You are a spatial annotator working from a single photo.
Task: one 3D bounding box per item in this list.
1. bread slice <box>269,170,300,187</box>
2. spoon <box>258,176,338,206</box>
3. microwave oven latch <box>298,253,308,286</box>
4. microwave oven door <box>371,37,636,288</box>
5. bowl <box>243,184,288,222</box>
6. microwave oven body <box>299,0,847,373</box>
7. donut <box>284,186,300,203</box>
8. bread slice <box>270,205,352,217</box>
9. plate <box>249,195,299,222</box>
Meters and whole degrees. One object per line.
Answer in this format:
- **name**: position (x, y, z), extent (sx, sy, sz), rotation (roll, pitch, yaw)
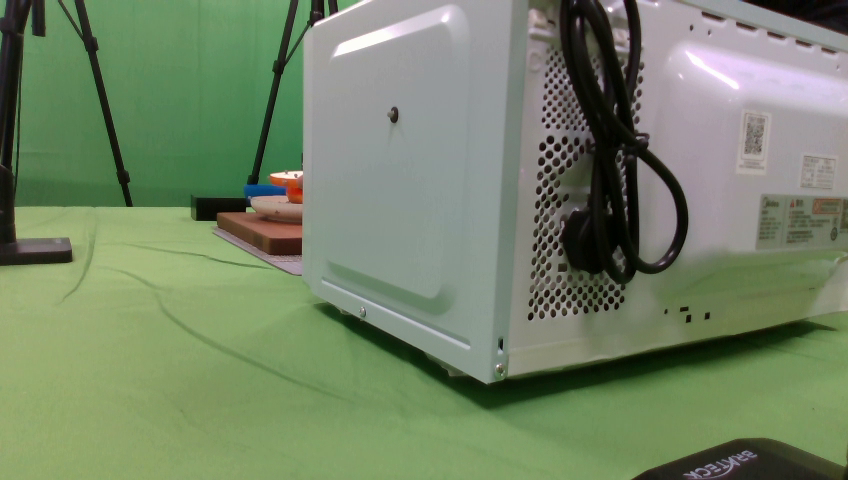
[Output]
- **bread slice**: position (-0.213, -0.115, 1.113), extent (0.106, 0.018, 0.135), rotation (9, 16, 38)
- **spoon**: position (-0.279, -0.112, 1.356), extent (0.194, 0.021, 0.041), rotation (-27, 18, -27)
- **microwave oven latch**: position (-0.081, 0.027, 0.583), extent (0.079, 0.029, 0.030), rotation (-2, 7, -33)
- **microwave oven door**: position (0.109, -0.080, 0.686), extent (0.358, 0.243, 0.039), rotation (-2, 9, -33)
- **bowl**: position (-0.321, -0.081, 1.333), extent (0.151, 0.077, 0.151), rotation (3, 8, 0)
- **microwave oven body**: position (0.152, -0.055, 0.542), extent (0.444, 0.260, 0.324), rotation (-2, 7, -33)
- **donut**: position (-0.210, -0.087, 1.123), extent (0.099, 0.048, 0.099), rotation (3, 0, 0)
- **bread slice**: position (-0.213, -0.054, 1.116), extent (0.104, 0.019, 0.132), rotation (6, 6, 41)
- **plate**: position (-0.217, -0.058, 1.122), extent (0.208, 0.039, 0.207), rotation (3, 7, 0)
